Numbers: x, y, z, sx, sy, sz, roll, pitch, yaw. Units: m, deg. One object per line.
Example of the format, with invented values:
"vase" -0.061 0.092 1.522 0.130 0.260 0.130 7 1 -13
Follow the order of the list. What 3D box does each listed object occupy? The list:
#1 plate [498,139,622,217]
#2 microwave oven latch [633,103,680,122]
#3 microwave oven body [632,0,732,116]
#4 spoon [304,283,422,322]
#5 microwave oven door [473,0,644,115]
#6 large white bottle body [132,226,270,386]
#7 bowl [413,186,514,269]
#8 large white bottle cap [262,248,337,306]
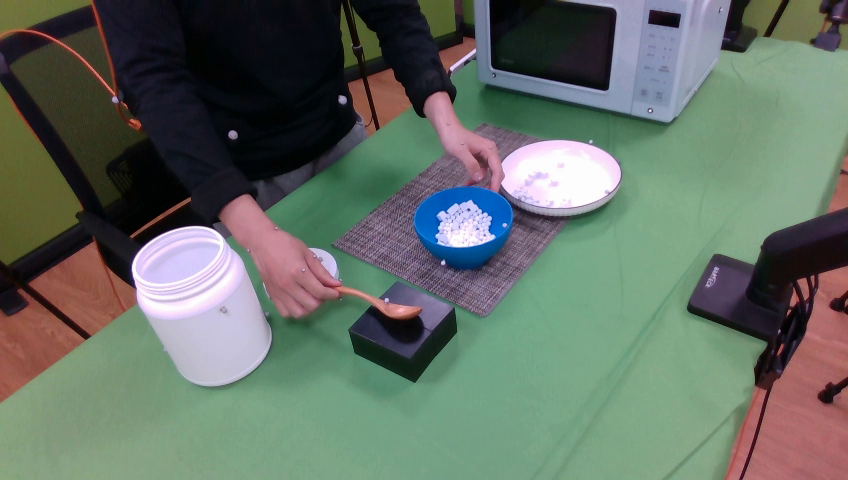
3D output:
"plate" 0.230 -0.103 1.038 0.209 0.038 0.208 -4 41 4
"microwave oven latch" 0.443 -0.249 1.157 0.078 0.029 0.030 21 49 30
"microwave oven body" 0.377 -0.463 1.267 0.438 0.261 0.327 21 49 30
"spoon" -0.087 0.078 0.817 0.192 0.022 0.042 14 33 28
"microwave oven door" 0.257 -0.396 1.199 0.353 0.245 0.039 21 48 29
"large white bottle body" -0.286 0.085 0.783 0.130 0.185 0.130 -4 41 4
"bowl" 0.062 -0.008 0.920 0.151 0.077 0.150 -4 40 4
"large white bottle cap" -0.193 0.055 0.934 0.115 0.018 0.114 -4 40 4
